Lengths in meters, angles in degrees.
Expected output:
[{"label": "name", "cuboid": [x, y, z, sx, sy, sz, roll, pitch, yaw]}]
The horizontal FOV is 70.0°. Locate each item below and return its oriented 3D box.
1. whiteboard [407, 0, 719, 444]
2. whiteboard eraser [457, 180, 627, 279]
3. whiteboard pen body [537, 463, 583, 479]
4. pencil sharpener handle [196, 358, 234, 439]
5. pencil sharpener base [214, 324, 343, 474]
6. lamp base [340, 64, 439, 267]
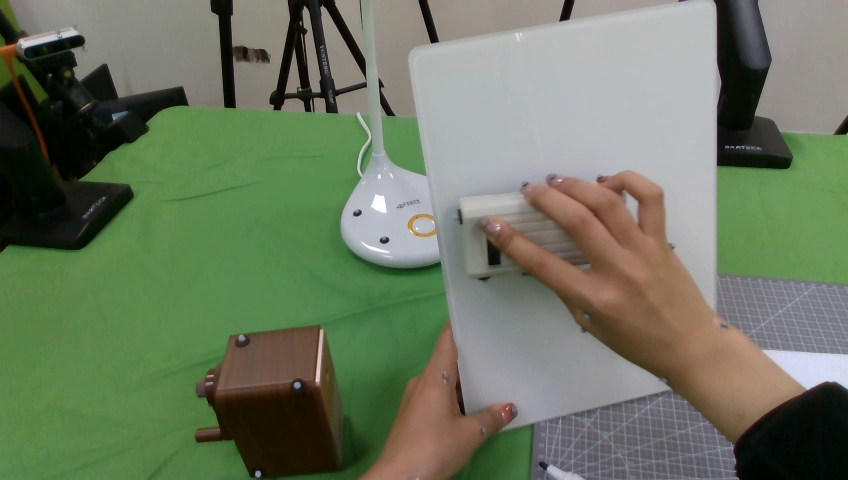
[{"label": "whiteboard", "cuboid": [0.108, -0.021, 0.511, 0.217, 0.307, 0.143, -12, 19, -6]}, {"label": "whiteboard eraser", "cuboid": [0.081, -0.008, 0.420, 0.113, 0.056, 0.041, -7, 26, -2]}, {"label": "whiteboard pen body", "cuboid": [0.139, 0.193, 0.420, 0.139, 0.017, 0.017, 23, 46, 33]}, {"label": "pencil sharpener handle", "cuboid": [-0.159, 0.120, 0.446, 0.030, 0.068, 0.035, -6, 26, -1]}, {"label": "pencil sharpener base", "cuboid": [-0.107, 0.123, 0.459, 0.077, 0.108, 0.060, -6, 39, -2]}, {"label": "lamp base", "cuboid": [-0.029, -0.089, 0.662, 0.161, 0.182, 0.177, -27, 42, -27]}]
